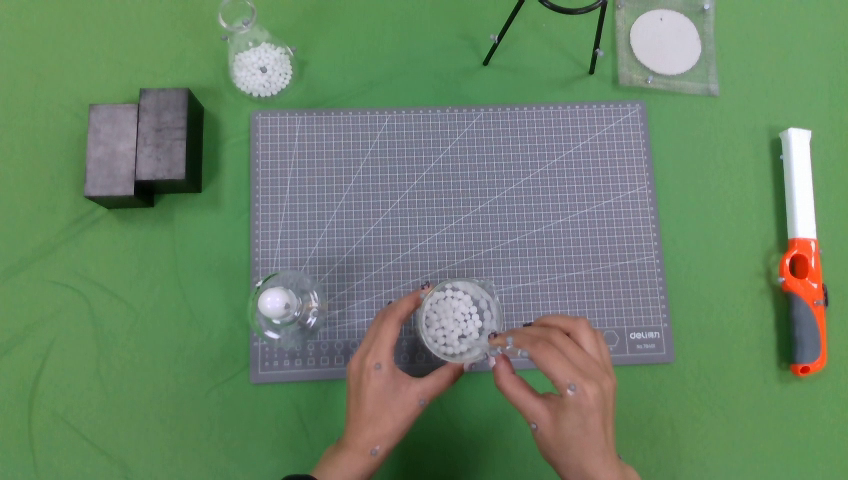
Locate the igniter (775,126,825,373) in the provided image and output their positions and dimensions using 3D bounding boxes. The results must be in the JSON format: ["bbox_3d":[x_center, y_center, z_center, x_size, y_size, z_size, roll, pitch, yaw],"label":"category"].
[{"bbox_3d":[0.414,0.008,0.671,0.057,0.025,0.275,5,80,-13],"label":"igniter"}]

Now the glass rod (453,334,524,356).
[{"bbox_3d":[0.049,0.087,0.513,0.008,0.199,0.008,1,84,-10],"label":"glass rod"}]

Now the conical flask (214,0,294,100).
[{"bbox_3d":[-0.183,-0.203,0.632,0.075,0.122,0.075,0,79,-2],"label":"conical flask"}]

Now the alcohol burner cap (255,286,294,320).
[{"bbox_3d":[-0.137,0.057,0.553,0.034,0.048,0.034,1,83,-6],"label":"alcohol burner cap"}]

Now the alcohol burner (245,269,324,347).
[{"bbox_3d":[-0.139,0.064,0.588,0.078,0.119,0.077,0,79,0],"label":"alcohol burner"}]

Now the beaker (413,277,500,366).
[{"bbox_3d":[0.028,0.074,0.570,0.074,0.100,0.084,39,81,1],"label":"beaker"}]

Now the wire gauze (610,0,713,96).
[{"bbox_3d":[0.282,-0.234,0.718,0.125,0.011,0.121,4,80,-4],"label":"wire gauze"}]

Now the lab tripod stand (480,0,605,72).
[{"bbox_3d":[0.134,-0.248,0.650,0.148,0.132,0.148,0,82,-2],"label":"lab tripod stand"}]
